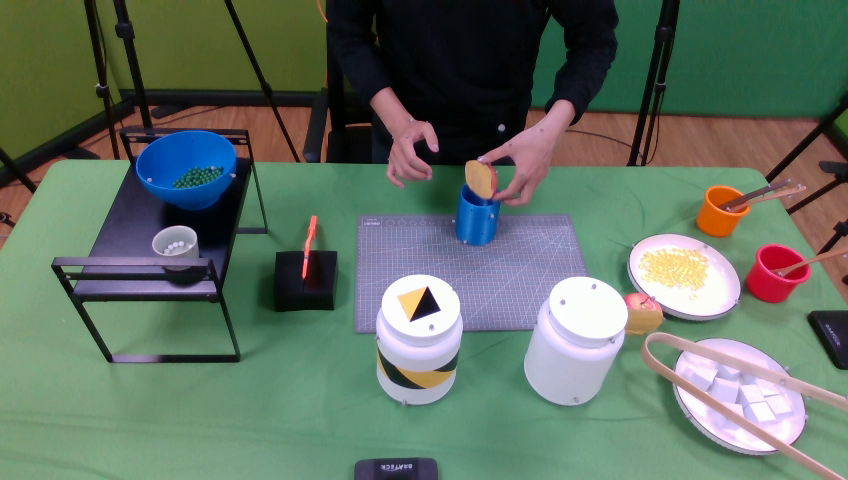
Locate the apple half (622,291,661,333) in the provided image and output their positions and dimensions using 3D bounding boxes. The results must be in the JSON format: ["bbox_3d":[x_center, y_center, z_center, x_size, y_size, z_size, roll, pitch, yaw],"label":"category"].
[{"bbox_3d":[0.372,0.123,1.074,0.081,0.075,0.053,0,42,1],"label":"apple half"}]

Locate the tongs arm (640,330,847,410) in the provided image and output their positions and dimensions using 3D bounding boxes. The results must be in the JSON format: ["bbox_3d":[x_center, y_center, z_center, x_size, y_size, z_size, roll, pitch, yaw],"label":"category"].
[{"bbox_3d":[0.543,0.225,0.969,0.384,0.026,0.050,22,52,13],"label":"tongs arm"}]

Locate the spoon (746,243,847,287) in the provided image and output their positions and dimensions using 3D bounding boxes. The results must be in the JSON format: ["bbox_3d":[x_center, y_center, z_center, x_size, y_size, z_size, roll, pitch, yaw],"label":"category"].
[{"bbox_3d":[0.702,0.043,1.126,0.194,0.022,0.041,-29,38,30],"label":"spoon"}]

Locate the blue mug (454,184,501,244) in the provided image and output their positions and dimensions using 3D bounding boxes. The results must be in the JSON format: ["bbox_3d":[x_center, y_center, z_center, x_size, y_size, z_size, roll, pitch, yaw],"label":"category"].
[{"bbox_3d":[0.106,-0.067,1.208,0.082,0.106,0.116,6,46,1],"label":"blue mug"}]

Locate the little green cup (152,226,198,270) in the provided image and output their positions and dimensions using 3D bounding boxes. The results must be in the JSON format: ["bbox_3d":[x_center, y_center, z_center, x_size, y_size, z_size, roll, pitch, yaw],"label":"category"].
[{"bbox_3d":[-0.364,0.013,0.894,0.061,0.039,0.061,3,47,-3],"label":"little green cup"}]

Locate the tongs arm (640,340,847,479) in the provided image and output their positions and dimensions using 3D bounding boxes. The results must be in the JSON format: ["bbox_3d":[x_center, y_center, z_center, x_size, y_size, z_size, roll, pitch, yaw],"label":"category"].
[{"bbox_3d":[0.500,0.277,0.919,0.386,0.028,0.028,34,59,22],"label":"tongs arm"}]

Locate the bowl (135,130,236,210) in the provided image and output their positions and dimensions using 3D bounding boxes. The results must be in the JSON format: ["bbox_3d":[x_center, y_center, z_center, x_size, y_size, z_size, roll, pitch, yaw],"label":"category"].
[{"bbox_3d":[-0.375,-0.102,0.978,0.151,0.077,0.150,2,46,-2],"label":"bowl"}]

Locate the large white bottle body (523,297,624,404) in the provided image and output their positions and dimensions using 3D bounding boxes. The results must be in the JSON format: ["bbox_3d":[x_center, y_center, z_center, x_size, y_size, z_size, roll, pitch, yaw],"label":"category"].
[{"bbox_3d":[0.235,0.159,0.952,0.131,0.185,0.130,2,47,-2],"label":"large white bottle body"}]

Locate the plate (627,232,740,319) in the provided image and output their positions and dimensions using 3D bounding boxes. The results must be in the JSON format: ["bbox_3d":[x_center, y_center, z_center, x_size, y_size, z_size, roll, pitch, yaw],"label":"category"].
[{"bbox_3d":[0.489,0.070,1.157,0.209,0.038,0.208,3,46,-3],"label":"plate"}]

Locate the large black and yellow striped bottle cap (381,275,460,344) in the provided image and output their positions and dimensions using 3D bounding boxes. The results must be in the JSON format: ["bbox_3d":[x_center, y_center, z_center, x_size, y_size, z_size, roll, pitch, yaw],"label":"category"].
[{"bbox_3d":[-0.005,0.098,0.875,0.115,0.019,0.114,2,45,-2],"label":"large black and yellow striped bottle cap"}]

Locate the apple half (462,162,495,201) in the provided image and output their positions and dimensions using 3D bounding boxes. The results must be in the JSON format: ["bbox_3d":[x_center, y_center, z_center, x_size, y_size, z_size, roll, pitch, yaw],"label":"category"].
[{"bbox_3d":[0.108,-0.115,1.148,0.033,0.081,0.081,-20,50,-36],"label":"apple half"}]

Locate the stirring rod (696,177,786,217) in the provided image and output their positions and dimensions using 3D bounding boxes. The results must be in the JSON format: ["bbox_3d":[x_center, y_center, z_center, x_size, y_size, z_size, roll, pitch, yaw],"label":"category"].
[{"bbox_3d":[0.648,-0.087,1.244,0.176,0.006,0.014,-25,50,29],"label":"stirring rod"}]

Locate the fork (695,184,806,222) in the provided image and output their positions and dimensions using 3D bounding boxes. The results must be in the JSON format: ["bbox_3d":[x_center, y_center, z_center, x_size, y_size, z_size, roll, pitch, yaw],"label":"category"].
[{"bbox_3d":[0.658,-0.074,1.230,0.207,0.019,0.028,-24,33,36],"label":"fork"}]

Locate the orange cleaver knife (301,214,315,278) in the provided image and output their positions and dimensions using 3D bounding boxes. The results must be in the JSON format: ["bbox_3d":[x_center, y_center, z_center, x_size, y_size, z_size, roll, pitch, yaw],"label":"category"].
[{"bbox_3d":[-0.218,0.007,1.131,0.012,0.077,0.210,7,19,-9],"label":"orange cleaver knife"}]

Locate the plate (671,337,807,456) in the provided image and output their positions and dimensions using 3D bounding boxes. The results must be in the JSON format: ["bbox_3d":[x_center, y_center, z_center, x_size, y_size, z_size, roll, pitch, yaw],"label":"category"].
[{"bbox_3d":[0.504,0.254,0.984,0.208,0.039,0.206,2,46,-2],"label":"plate"}]

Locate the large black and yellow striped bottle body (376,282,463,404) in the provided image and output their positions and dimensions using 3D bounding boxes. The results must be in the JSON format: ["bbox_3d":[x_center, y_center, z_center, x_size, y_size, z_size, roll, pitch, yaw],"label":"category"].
[{"bbox_3d":[-0.010,0.155,0.937,0.131,0.185,0.130,2,47,-2],"label":"large black and yellow striped bottle body"}]

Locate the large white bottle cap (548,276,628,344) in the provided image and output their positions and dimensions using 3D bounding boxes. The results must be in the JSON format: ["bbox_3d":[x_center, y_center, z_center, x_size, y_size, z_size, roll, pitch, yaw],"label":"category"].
[{"bbox_3d":[0.240,0.100,0.890,0.115,0.018,0.114,3,47,-3],"label":"large white bottle cap"}]
